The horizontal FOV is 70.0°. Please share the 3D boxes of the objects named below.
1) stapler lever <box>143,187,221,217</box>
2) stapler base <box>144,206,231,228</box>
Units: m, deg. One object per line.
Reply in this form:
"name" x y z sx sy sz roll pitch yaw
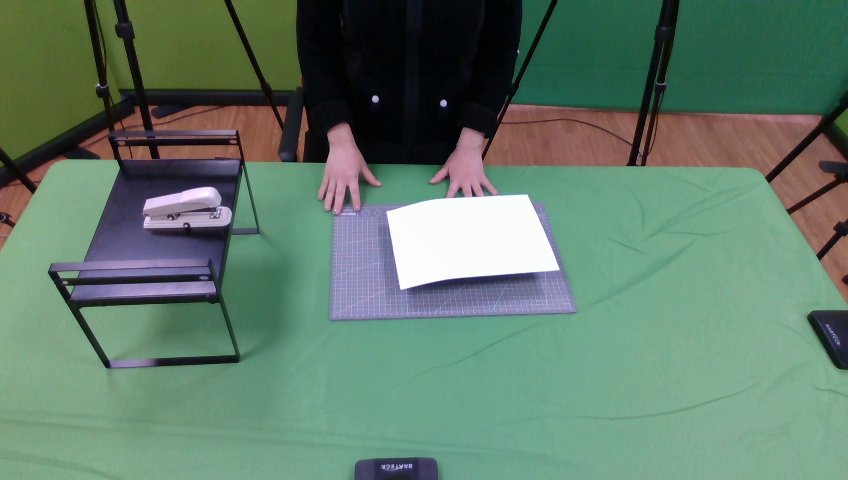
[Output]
"stapler lever" -0.376 -0.059 0.941 0.118 0.040 0.026 -4 44 -5
"stapler base" -0.376 -0.042 0.960 0.131 0.024 0.041 -4 44 -5
